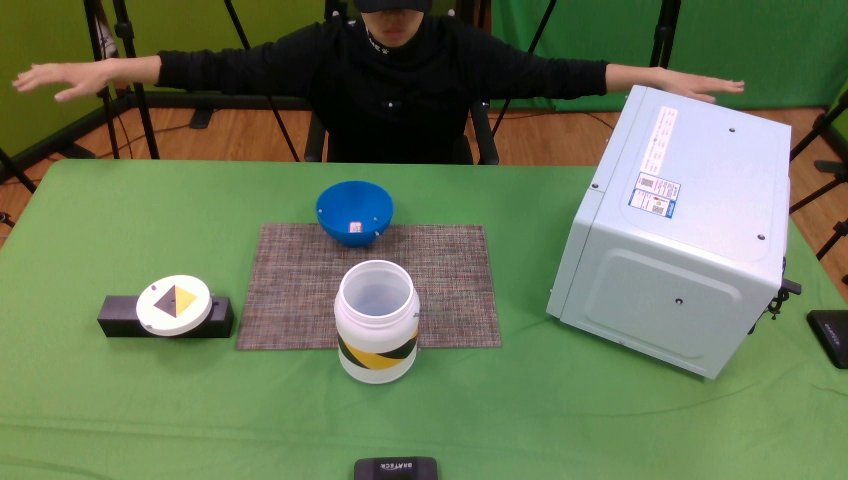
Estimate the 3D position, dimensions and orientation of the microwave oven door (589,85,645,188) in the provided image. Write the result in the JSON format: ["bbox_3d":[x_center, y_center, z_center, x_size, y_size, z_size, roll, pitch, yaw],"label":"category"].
[{"bbox_3d":[0.341,-0.107,1.149,0.039,0.245,0.354,20,48,15],"label":"microwave oven door"}]

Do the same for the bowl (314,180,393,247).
[{"bbox_3d":[-0.135,-0.039,1.180,0.151,0.077,0.150,3,46,-2],"label":"bowl"}]

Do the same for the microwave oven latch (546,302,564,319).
[{"bbox_3d":[0.242,0.102,1.081,0.030,0.029,0.079,21,48,17],"label":"microwave oven latch"}]

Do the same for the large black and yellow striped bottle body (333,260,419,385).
[{"bbox_3d":[-0.075,0.129,0.950,0.131,0.185,0.130,2,49,-2],"label":"large black and yellow striped bottle body"}]

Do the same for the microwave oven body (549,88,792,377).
[{"bbox_3d":[0.456,-0.028,1.088,0.325,0.261,0.440,20,47,16],"label":"microwave oven body"}]

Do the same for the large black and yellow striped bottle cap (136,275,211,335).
[{"bbox_3d":[-0.412,0.105,0.999,0.115,0.019,0.114,3,46,-3],"label":"large black and yellow striped bottle cap"}]
